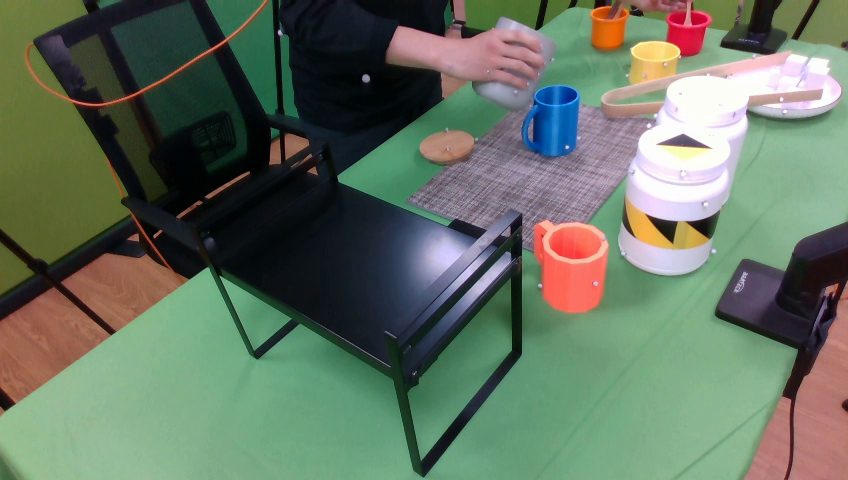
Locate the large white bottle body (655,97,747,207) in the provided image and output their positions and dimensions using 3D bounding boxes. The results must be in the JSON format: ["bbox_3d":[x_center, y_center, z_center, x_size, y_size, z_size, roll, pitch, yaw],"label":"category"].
[{"bbox_3d":[0.431,-0.148,0.959,0.130,0.185,0.130,-4,41,4],"label":"large white bottle body"}]

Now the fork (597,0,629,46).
[{"bbox_3d":[0.479,-0.558,1.455,0.028,0.019,0.207,35,100,37],"label":"fork"}]

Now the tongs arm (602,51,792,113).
[{"bbox_3d":[0.552,-0.320,1.224,0.384,0.027,0.050,-10,43,7],"label":"tongs arm"}]

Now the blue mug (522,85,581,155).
[{"bbox_3d":[0.233,-0.218,1.127,0.117,0.106,0.081,-23,43,-16],"label":"blue mug"}]

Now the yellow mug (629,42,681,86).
[{"bbox_3d":[0.495,-0.389,1.321,0.100,0.064,0.130,-14,40,-7],"label":"yellow mug"}]

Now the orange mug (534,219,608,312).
[{"bbox_3d":[0.200,0.027,0.858,0.084,0.101,0.125,-24,47,-18],"label":"orange mug"}]

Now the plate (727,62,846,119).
[{"bbox_3d":[0.709,-0.292,1.197,0.207,0.039,0.206,-4,40,4],"label":"plate"}]

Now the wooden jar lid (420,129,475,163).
[{"bbox_3d":[0.047,-0.183,1.183,0.108,0.021,0.108,-6,37,5],"label":"wooden jar lid"}]

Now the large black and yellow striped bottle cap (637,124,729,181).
[{"bbox_3d":[0.346,-0.119,0.810,0.115,0.019,0.114,-5,41,4],"label":"large black and yellow striped bottle cap"}]

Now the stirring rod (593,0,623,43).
[{"bbox_3d":[0.460,-0.557,1.461,0.014,0.176,0.006,35,11,22],"label":"stirring rod"}]

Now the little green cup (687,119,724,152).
[{"bbox_3d":[0.514,-0.191,1.109,0.061,0.039,0.061,-5,40,5],"label":"little green cup"}]

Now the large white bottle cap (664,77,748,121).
[{"bbox_3d":[0.421,-0.212,0.905,0.115,0.018,0.114,-4,40,4],"label":"large white bottle cap"}]

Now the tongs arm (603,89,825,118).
[{"bbox_3d":[0.546,-0.262,1.163,0.386,0.028,0.028,-1,49,18],"label":"tongs arm"}]

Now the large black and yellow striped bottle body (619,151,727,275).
[{"bbox_3d":[0.354,-0.056,0.865,0.131,0.185,0.130,-4,41,4],"label":"large black and yellow striped bottle body"}]

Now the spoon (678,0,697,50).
[{"bbox_3d":[0.611,-0.533,1.394,0.041,0.193,0.022,1,4,12],"label":"spoon"}]

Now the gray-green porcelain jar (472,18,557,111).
[{"bbox_3d":[0.148,-0.290,1.017,0.106,0.126,0.105,23,17,-7],"label":"gray-green porcelain jar"}]
